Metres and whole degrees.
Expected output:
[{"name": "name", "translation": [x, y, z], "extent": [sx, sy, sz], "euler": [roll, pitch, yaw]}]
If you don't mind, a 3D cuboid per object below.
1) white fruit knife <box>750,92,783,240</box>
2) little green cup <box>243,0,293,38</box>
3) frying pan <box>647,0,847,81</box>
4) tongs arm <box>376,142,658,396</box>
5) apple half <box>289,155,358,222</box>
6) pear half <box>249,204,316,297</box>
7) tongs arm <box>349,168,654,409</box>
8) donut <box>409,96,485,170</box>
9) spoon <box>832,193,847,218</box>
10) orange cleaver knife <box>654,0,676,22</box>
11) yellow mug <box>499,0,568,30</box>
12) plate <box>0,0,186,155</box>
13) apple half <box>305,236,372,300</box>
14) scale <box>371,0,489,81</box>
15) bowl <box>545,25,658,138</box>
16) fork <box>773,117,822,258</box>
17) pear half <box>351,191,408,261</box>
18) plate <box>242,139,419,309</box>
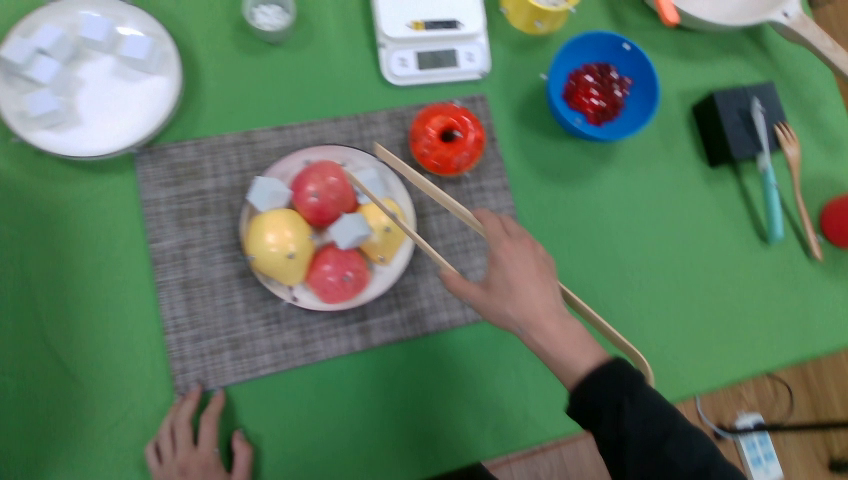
[{"name": "white fruit knife", "translation": [0.469, -0.100, 0.833], "extent": [0.016, 0.027, 0.208], "euler": [-14, 97, -12]}, {"name": "little green cup", "translation": [-0.198, -0.292, 0.776], "extent": [0.062, 0.038, 0.061], "euler": [2, 79, -9]}, {"name": "frying pan", "translation": [0.477, -0.366, 0.870], "extent": [0.306, 0.103, 0.486], "euler": [-39, 80, -13]}, {"name": "tongs arm", "translation": [0.090, 0.022, 0.636], "extent": [0.386, 0.028, 0.028], "euler": [41, 69, 10]}, {"name": "apple half", "translation": [-0.122, -0.064, 0.725], "extent": [0.075, 0.053, 0.080], "euler": [-24, 87, -10]}, {"name": "pear half", "translation": [-0.158, 0.012, 0.701], "extent": [0.076, 0.056, 0.109], "euler": [-18, 87, -20]}, {"name": "tongs arm", "translation": [0.071, 0.041, 0.629], "extent": [0.383, 0.026, 0.050], "euler": [44, 73, 11]}, {"name": "donut", "translation": [0.029, -0.138, 0.779], "extent": [0.099, 0.048, 0.098], "euler": [1, 81, -7]}, {"name": "spoon", "translation": [0.632, -0.007, 0.810], "extent": [0.042, 0.022, 0.191], "euler": [-17, 39, -13]}, {"name": "orange cleaver knife", "translation": [0.307, -0.399, 0.828], "extent": [0.077, 0.012, 0.211], "euler": [-22, 85, -15]}, {"name": "yellow mug", "translation": [0.147, -0.362, 0.833], "extent": [0.131, 0.064, 0.100], "euler": [44, 76, 1]}, {"name": "plate", "translation": [-0.392, -0.197, 0.725], "extent": [0.208, 0.039, 0.206], "euler": [2, 79, -9]}, {"name": "apple half", "translation": [-0.103, 0.031, 0.719], "extent": [0.081, 0.033, 0.081], "euler": [3, 73, -8]}, {"name": "scale", "translation": [0.004, -0.318, 0.818], "extent": [0.149, 0.031, 0.200], "euler": [-8, 82, -10]}, {"name": "bowl", "translation": [0.224, -0.199, 0.810], "extent": [0.152, 0.077, 0.151], "euler": [2, 80, -9]}, {"name": "fork", "translation": [0.524, -0.072, 0.845], "extent": [0.028, 0.018, 0.208], "euler": [-22, 99, -15]}, {"name": "pear half", "translation": [-0.055, -0.019, 0.739], "extent": [0.070, 0.031, 0.087], "euler": [-11, 79, 2]}, {"name": "plate", "translation": [-0.111, -0.019, 0.737], "extent": [0.210, 0.038, 0.208], "euler": [2, 79, -10]}]
